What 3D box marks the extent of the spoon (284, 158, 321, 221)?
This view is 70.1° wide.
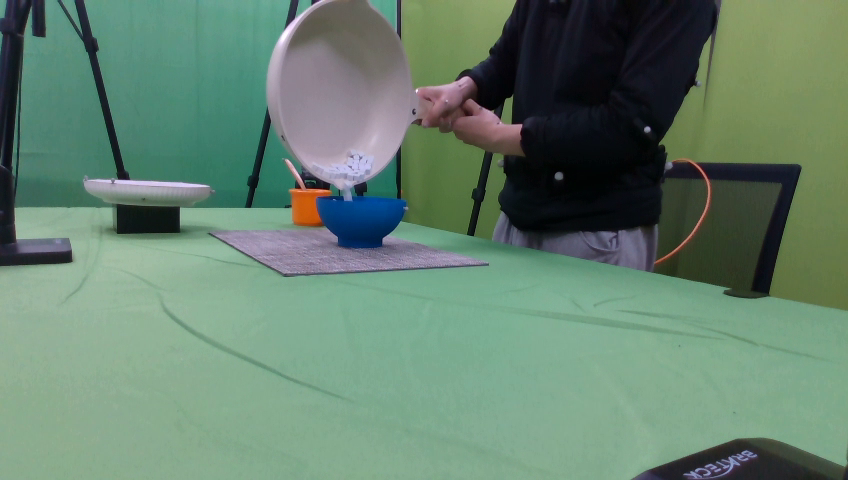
[{"bbox_3d":[-0.269,-0.113,1.336,0.042,0.193,0.021,-3,-35,-43],"label":"spoon"}]

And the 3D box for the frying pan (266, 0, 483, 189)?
[{"bbox_3d":[-0.062,-0.240,1.059,0.491,0.306,0.102,-1,13,-43],"label":"frying pan"}]

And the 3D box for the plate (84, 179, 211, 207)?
[{"bbox_3d":[-0.495,-0.085,1.093,0.208,0.039,0.207,4,7,0],"label":"plate"}]

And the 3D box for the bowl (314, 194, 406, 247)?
[{"bbox_3d":[-0.105,-0.032,0.991,0.151,0.077,0.151,2,7,0],"label":"bowl"}]
